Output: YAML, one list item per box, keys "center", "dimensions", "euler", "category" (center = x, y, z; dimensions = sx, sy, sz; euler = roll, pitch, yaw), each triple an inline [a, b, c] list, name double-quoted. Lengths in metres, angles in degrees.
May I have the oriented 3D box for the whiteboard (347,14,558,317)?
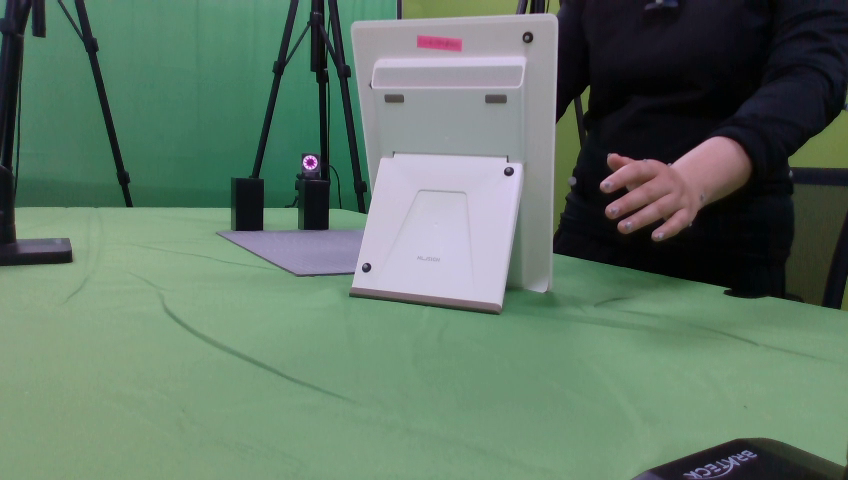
- center: [0.012, -0.056, 0.609]
  dimensions: [0.216, 0.305, 0.144]
  euler: [5, 27, 20]
  category: "whiteboard"

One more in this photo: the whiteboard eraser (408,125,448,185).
- center: [0.006, -0.108, 0.768]
  dimensions: [0.041, 0.019, 0.101]
  euler: [4, -31, 14]
  category: "whiteboard eraser"
